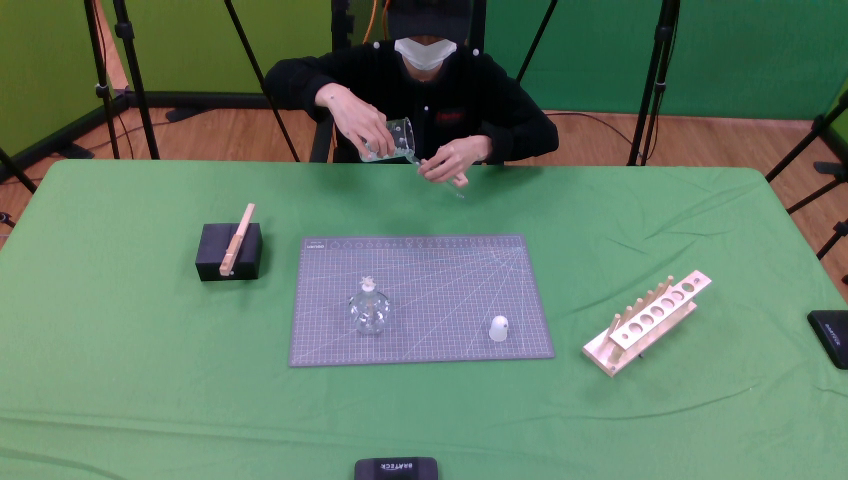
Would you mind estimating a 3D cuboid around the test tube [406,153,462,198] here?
[{"bbox_3d":[0.022,-0.126,1.210,0.151,0.017,0.017,35,36,-31],"label":"test tube"}]

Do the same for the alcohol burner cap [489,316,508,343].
[{"bbox_3d":[0.130,0.151,1.045,0.034,0.048,0.033,2,46,-2],"label":"alcohol burner cap"}]

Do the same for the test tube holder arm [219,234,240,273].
[{"bbox_3d":[-0.344,0.023,1.076,0.015,0.010,0.087,5,45,2],"label":"test tube holder arm"}]

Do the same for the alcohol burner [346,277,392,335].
[{"bbox_3d":[-0.093,0.106,1.021,0.078,0.120,0.077,1,46,-1],"label":"alcohol burner"}]

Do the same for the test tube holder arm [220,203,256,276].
[{"bbox_3d":[-0.340,-0.005,1.112,0.015,0.013,0.177,5,46,2],"label":"test tube holder arm"}]

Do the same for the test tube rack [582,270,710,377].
[{"bbox_3d":[0.389,0.132,1.057,0.242,0.085,0.066,-28,53,-28],"label":"test tube rack"}]

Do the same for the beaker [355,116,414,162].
[{"bbox_3d":[-0.076,-0.186,1.142,0.100,0.084,0.073,-9,34,-10],"label":"beaker"}]
